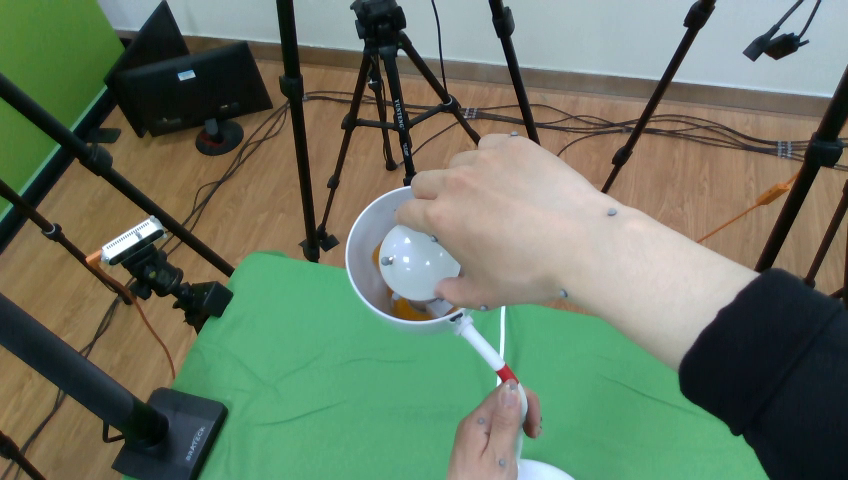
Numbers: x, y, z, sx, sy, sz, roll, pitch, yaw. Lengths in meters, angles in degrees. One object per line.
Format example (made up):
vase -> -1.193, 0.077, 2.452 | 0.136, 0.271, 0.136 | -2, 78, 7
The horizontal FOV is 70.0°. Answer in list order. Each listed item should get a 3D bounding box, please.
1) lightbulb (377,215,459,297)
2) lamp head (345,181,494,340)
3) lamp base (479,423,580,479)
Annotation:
lightbulb -> -0.004, 0.018, 0.463 | 0.059, 0.108, 0.059 | 0, 74, 0
lamp head -> 0.003, 0.030, 0.493 | 0.112, 0.124, 0.111 | -3, 63, 6
lamp base -> 0.112, 0.279, 0.645 | 0.161, 0.182, 0.177 | -23, 53, -9
